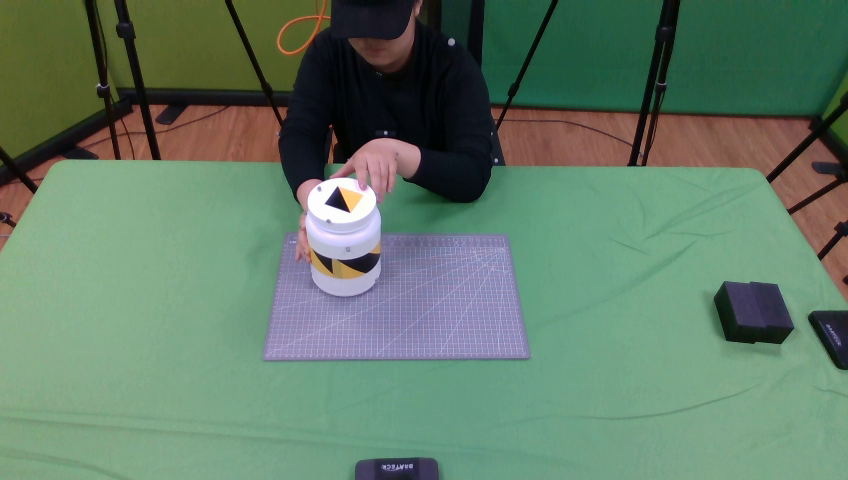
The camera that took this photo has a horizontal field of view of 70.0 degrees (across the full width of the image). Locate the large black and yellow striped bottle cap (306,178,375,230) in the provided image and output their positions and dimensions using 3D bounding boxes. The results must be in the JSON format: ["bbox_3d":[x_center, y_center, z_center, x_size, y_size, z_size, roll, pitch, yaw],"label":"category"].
[{"bbox_3d":[-0.139,-0.062,1.014,0.115,0.019,0.114,4,46,-4],"label":"large black and yellow striped bottle cap"}]

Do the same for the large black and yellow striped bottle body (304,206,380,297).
[{"bbox_3d":[-0.143,-0.003,1.074,0.131,0.185,0.130,2,46,-2],"label":"large black and yellow striped bottle body"}]
